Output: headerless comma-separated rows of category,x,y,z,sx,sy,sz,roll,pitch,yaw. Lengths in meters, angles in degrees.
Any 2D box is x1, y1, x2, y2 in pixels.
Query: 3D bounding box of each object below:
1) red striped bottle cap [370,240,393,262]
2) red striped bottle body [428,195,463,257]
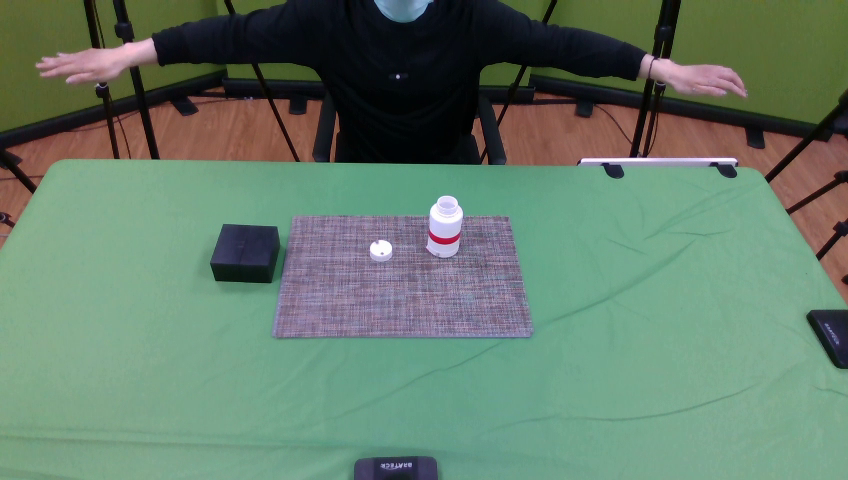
red striped bottle cap,-0.082,0.020,1.168,0.044,0.018,0.044,-2,47,3
red striped bottle body,0.041,-0.028,1.152,0.063,0.120,0.062,2,46,-2
